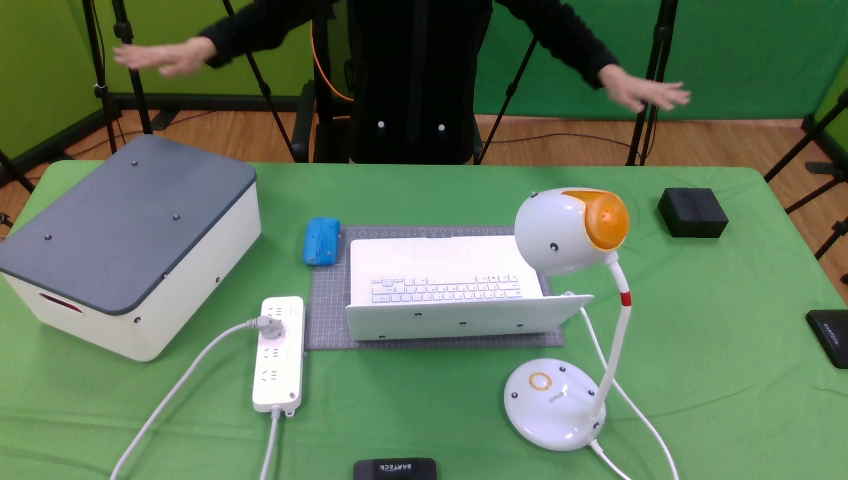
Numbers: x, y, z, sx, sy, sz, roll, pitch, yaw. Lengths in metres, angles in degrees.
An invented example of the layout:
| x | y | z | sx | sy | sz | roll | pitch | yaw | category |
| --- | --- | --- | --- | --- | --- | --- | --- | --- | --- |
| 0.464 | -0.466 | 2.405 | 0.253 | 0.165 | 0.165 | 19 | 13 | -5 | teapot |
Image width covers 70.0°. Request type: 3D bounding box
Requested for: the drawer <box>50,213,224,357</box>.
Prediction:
| x | y | z | sx | sy | sz | roll | pitch | yaw | category |
| --- | --- | --- | --- | --- | --- | --- | --- | --- | --- |
| -0.492 | 0.075 | 1.057 | 0.194 | 0.073 | 0.211 | 18 | 57 | 10 | drawer |

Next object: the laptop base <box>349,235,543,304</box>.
| x | y | z | sx | sy | sz | roll | pitch | yaw | category |
| --- | --- | --- | --- | --- | --- | --- | --- | --- | --- |
| 0.039 | 0.081 | 1.124 | 0.355 | 0.023 | 0.234 | -2 | 43 | -6 | laptop base |

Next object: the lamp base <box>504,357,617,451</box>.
| x | y | z | sx | sy | sz | roll | pitch | yaw | category |
| --- | --- | --- | --- | --- | --- | --- | --- | --- | --- |
| 0.220 | 0.211 | 0.902 | 0.160 | 0.181 | 0.178 | -33 | 59 | -30 | lamp base |

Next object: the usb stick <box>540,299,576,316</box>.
| x | y | z | sx | sy | sz | roll | pitch | yaw | category |
| --- | --- | --- | --- | --- | --- | --- | --- | --- | --- |
| 0.239 | 0.121 | 1.083 | 0.059 | 0.027 | 0.021 | -1 | 51 | -2 | usb stick |

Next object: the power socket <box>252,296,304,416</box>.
| x | y | z | sx | sy | sz | roll | pitch | yaw | category |
| --- | --- | --- | --- | --- | --- | --- | --- | --- | --- |
| -0.238 | 0.182 | 0.997 | 0.072 | 0.033 | 0.225 | -3 | 47 | -5 | power socket |

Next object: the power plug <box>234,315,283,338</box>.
| x | y | z | sx | sy | sz | roll | pitch | yaw | category |
| --- | --- | --- | --- | --- | --- | --- | --- | --- | --- |
| -0.269 | 0.143 | 1.000 | 0.072 | 0.053 | 0.035 | 4 | 47 | 2 | power plug |

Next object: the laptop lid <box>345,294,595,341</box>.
| x | y | z | sx | sy | sz | roll | pitch | yaw | category |
| --- | --- | --- | --- | --- | --- | --- | --- | --- | --- |
| 0.059 | 0.124 | 0.934 | 0.357 | 0.242 | 0.013 | -1 | 69 | -7 | laptop lid |

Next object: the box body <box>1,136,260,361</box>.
| x | y | z | sx | sy | sz | roll | pitch | yaw | category |
| --- | --- | --- | --- | --- | --- | --- | --- | --- | --- |
| -0.482 | 0.006 | 1.056 | 0.254 | 0.161 | 0.362 | 17 | 47 | 12 | box body |

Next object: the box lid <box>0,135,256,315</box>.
| x | y | z | sx | sy | sz | roll | pitch | yaw | category |
| --- | --- | --- | --- | --- | --- | --- | --- | --- | --- |
| -0.480 | -0.044 | 1.002 | 0.263 | 0.015 | 0.370 | 18 | 47 | 12 | box lid |

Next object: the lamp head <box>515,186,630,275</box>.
| x | y | z | sx | sy | sz | roll | pitch | yaw | category |
| --- | --- | --- | --- | --- | --- | --- | --- | --- | --- |
| 0.188 | -0.013 | 0.728 | 0.112 | 0.112 | 0.122 | -25 | 9 | -25 | lamp head |

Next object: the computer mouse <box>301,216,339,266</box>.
| x | y | z | sx | sy | sz | roll | pitch | yaw | category |
| --- | --- | --- | --- | --- | --- | --- | --- | --- | --- |
| -0.200 | -0.002 | 1.169 | 0.063 | 0.041 | 0.116 | 3 | 50 | -3 | computer mouse |
